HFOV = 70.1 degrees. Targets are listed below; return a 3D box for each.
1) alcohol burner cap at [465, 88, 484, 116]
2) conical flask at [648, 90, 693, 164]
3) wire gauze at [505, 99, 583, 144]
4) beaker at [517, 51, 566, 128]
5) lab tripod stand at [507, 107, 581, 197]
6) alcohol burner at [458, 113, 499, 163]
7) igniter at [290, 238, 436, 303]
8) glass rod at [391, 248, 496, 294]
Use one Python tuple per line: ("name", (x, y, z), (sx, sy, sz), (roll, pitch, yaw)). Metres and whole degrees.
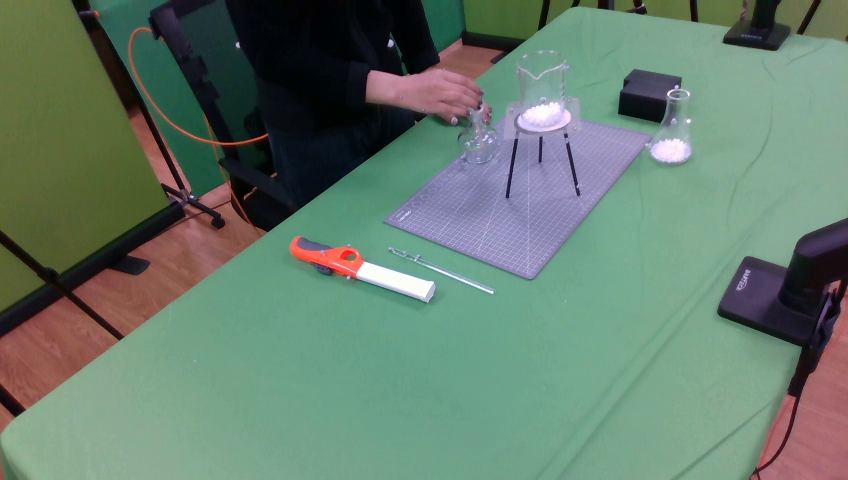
("alcohol burner cap", (0.089, -0.251, 1.091), (0.034, 0.048, 0.033), (-7, 43, 7))
("conical flask", (0.437, -0.199, 1.057), (0.075, 0.122, 0.075), (-5, 40, 5))
("wire gauze", (0.195, -0.199, 0.988), (0.121, 0.011, 0.124), (-3, 41, 13))
("beaker", (0.186, -0.235, 0.957), (0.073, 0.101, 0.084), (4, 42, 18))
("lab tripod stand", (0.201, -0.151, 1.033), (0.148, 0.132, 0.147), (-7, 39, 6))
("alcohol burner", (0.100, -0.205, 1.132), (0.078, 0.120, 0.077), (-6, 42, 6))
("igniter", (-0.106, 0.044, 0.949), (0.274, 0.025, 0.057), (16, 56, 27))
("glass rod", (0.026, 0.045, 0.937), (0.198, 0.008, 0.008), (21, 49, 31))
